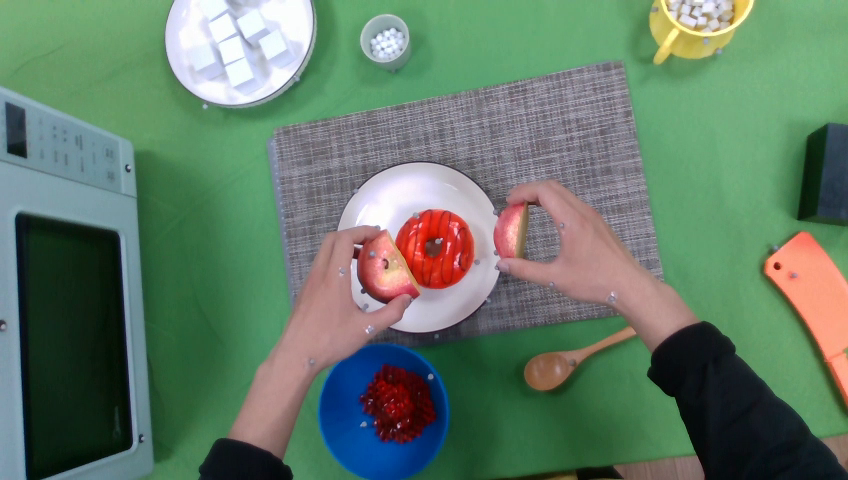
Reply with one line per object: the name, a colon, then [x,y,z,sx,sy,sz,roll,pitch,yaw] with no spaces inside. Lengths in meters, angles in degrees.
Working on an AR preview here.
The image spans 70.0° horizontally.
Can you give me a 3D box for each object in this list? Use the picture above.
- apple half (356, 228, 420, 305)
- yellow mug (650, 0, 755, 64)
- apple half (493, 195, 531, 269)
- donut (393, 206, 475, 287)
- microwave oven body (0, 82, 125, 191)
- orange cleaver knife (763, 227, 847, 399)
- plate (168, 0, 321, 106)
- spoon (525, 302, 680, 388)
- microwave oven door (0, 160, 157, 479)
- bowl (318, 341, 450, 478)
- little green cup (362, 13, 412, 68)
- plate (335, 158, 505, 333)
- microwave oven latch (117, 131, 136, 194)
apple half: [-0.043,0.034,0.638,0.053,0.074,0.081,-28,90,-1]
yellow mug: [0.307,-0.258,0.693,0.099,0.064,0.131,38,93,11]
apple half: [0.086,-0.011,0.615,0.032,0.081,0.081,9,86,16]
donut: [0.011,0.008,0.719,0.099,0.048,0.099,-1,87,10]
microwave oven body: [-0.540,0.084,0.702,0.325,0.261,0.440,-7,84,8]
orange cleaver knife: [0.449,0.088,0.662,0.077,0.012,0.210,-24,80,1]
plate: [-0.233,-0.274,0.800,0.207,0.039,0.207,-1,85,10]
spoon: [0.207,0.119,0.699,0.194,0.022,0.041,-28,66,7]
microwave oven door: [-0.393,0.106,0.671,0.039,0.245,0.354,-8,83,9]
bowl: [-0.039,0.190,0.706,0.151,0.077,0.151,-1,85,10]
little green cup: [-0.044,-0.249,0.766,0.061,0.039,0.061,-1,84,10]
plate: [-0.004,0.006,0.733,0.209,0.038,0.208,-1,85,10]
microwave oven latch: [-0.398,-0.100,0.793,0.030,0.029,0.079,-6,85,9]
